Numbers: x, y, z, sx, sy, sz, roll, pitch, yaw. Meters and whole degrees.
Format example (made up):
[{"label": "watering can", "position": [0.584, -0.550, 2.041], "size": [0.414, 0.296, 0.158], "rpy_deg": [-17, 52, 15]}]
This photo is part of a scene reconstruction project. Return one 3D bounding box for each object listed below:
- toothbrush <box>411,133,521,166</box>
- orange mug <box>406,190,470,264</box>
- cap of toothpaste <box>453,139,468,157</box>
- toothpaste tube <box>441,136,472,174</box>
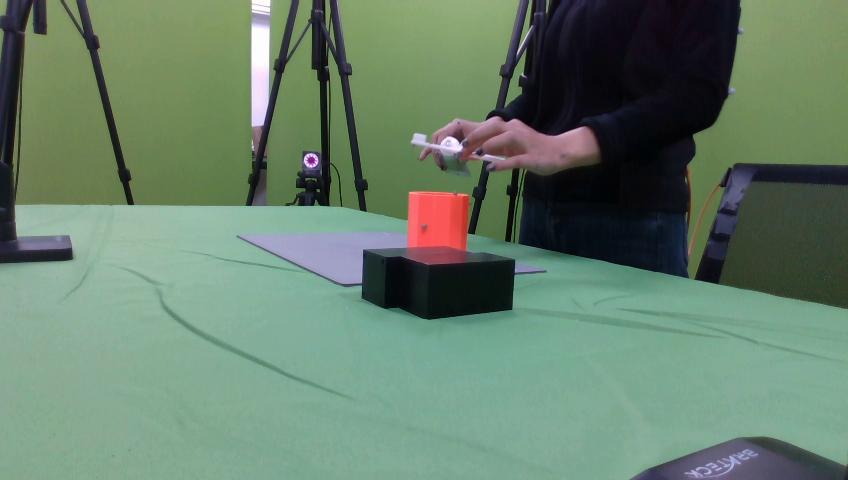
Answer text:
[{"label": "toothbrush", "position": [0.057, -0.130, 0.865], "size": [0.181, 0.016, 0.014], "rpy_deg": [18, 13, 30]}, {"label": "orange mug", "position": [0.027, -0.023, 0.866], "size": [0.083, 0.101, 0.126], "rpy_deg": [6, 12, 24]}, {"label": "cap of toothpaste", "position": [0.061, -0.158, 1.024], "size": [0.011, 0.037, 0.037], "rpy_deg": [39, 3, -7]}, {"label": "toothpaste tube", "position": [0.058, -0.152, 1.114], "size": [0.055, 0.034, 0.165], "rpy_deg": [14, -9, 11]}]
